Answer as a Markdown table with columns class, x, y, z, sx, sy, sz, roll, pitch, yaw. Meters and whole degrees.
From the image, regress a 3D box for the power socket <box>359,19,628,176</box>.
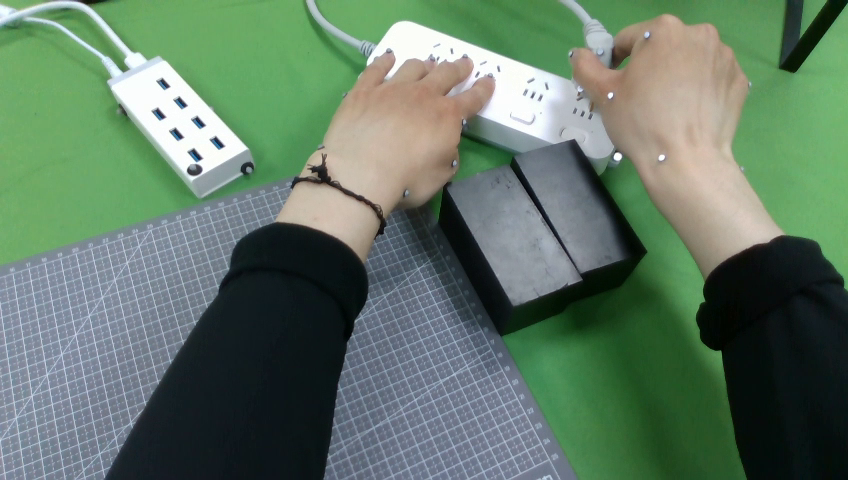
| class | x | y | z | sx | sy | sz | roll | pitch | yaw |
| --- | --- | --- | --- | --- | --- | --- | --- | --- | --- |
| power socket | 0.057 | -0.119 | 0.495 | 0.226 | 0.033 | 0.072 | 23 | 60 | 9 |

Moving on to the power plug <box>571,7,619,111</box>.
| class | x | y | z | sx | sy | sz | roll | pitch | yaw |
| --- | --- | --- | --- | --- | --- | --- | --- | --- | --- |
| power plug | 0.134 | -0.139 | 0.471 | 0.035 | 0.053 | 0.072 | 11 | 53 | 6 |

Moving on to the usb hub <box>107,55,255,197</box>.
| class | x | y | z | sx | sy | sz | roll | pitch | yaw |
| --- | --- | --- | --- | --- | --- | --- | --- | --- | --- |
| usb hub | -0.187 | -0.090 | 0.464 | 0.049 | 0.025 | 0.124 | -37 | 69 | -22 |
